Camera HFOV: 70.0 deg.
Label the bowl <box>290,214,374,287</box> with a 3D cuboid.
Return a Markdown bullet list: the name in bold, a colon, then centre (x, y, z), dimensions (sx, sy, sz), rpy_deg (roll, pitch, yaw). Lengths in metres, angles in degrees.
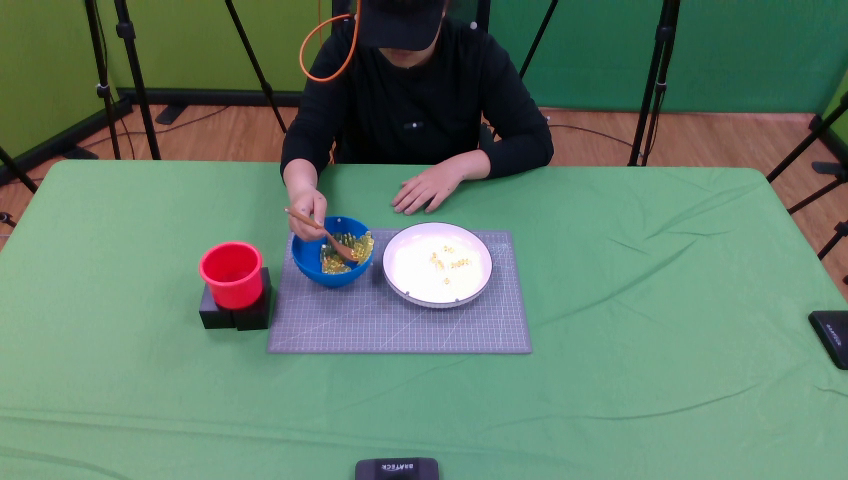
- **bowl**: centre (-0.165, 0.032, 1.111), dimensions (0.151, 0.077, 0.150), rpy_deg (2, 46, -2)

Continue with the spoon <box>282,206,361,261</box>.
- **spoon**: centre (-0.176, -0.012, 1.057), dimensions (0.021, 0.195, 0.041), rpy_deg (-37, 45, 9)

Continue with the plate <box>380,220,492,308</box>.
- **plate**: centre (0.022, 0.048, 1.138), dimensions (0.208, 0.039, 0.206), rpy_deg (2, 46, -2)
